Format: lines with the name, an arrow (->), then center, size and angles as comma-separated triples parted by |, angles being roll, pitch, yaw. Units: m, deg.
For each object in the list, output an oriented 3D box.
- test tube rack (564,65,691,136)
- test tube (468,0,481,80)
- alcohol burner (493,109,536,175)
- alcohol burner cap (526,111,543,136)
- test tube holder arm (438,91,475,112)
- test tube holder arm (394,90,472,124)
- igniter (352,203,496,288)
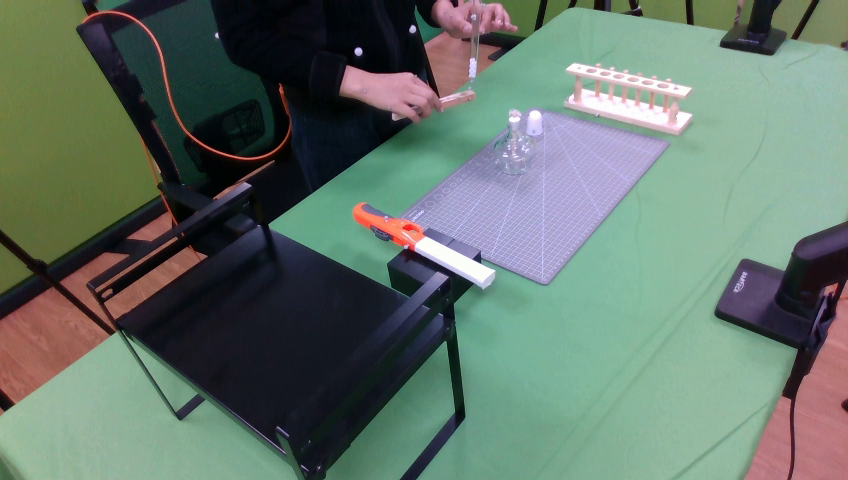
test tube rack -> 0.404, -0.288, 1.204 | 0.240, 0.085, 0.067 | 24, 50, 32
test tube -> 0.091, -0.364, 1.092 | 0.017, 0.150, 0.017 | 1, 31, 0
alcohol burner -> 0.163, -0.179, 1.087 | 0.078, 0.119, 0.077 | -5, 39, 5
alcohol burner cap -> 0.219, -0.232, 1.196 | 0.034, 0.048, 0.033 | -4, 41, 4
test tube holder arm -> 0.059, -0.259, 1.130 | 0.088, 0.015, 0.010 | -25, 55, -28
test tube holder arm -> 0.019, -0.245, 1.111 | 0.179, 0.015, 0.013 | -25, 54, -28
igniter -> -0.011, 0.002, 0.899 | 0.274, 0.025, 0.057 | 27, 45, 33
